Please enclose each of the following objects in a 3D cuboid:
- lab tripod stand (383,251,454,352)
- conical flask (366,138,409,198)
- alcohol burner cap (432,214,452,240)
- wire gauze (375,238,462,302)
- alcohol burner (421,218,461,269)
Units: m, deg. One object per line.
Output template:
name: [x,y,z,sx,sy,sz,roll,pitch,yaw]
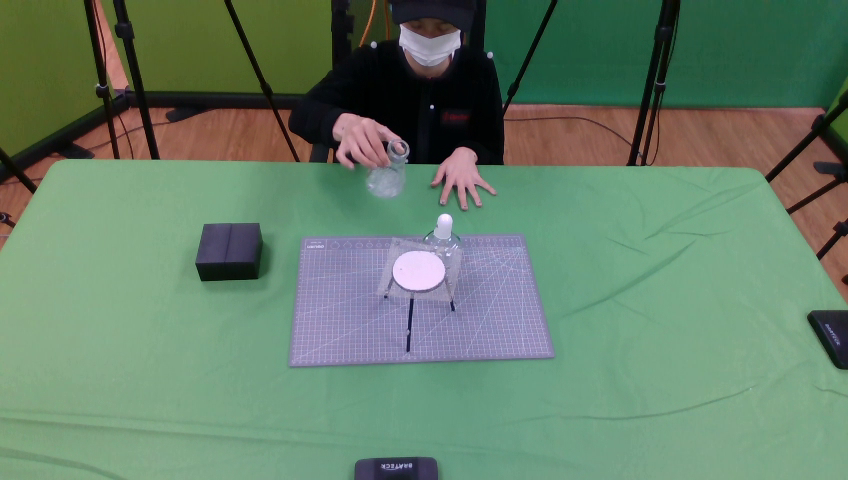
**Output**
lab tripod stand: [-0.015,0.094,1.025,0.148,0.132,0.147,1,46,-1]
conical flask: [-0.057,-0.131,1.067,0.075,0.122,0.075,6,66,-13]
alcohol burner cap: [0.035,-0.027,1.110,0.034,0.048,0.033,7,42,-6]
wire gauze: [-0.006,0.048,0.977,0.121,0.011,0.124,9,45,5]
alcohol burner: [0.033,-0.001,1.135,0.078,0.119,0.077,3,47,-3]
